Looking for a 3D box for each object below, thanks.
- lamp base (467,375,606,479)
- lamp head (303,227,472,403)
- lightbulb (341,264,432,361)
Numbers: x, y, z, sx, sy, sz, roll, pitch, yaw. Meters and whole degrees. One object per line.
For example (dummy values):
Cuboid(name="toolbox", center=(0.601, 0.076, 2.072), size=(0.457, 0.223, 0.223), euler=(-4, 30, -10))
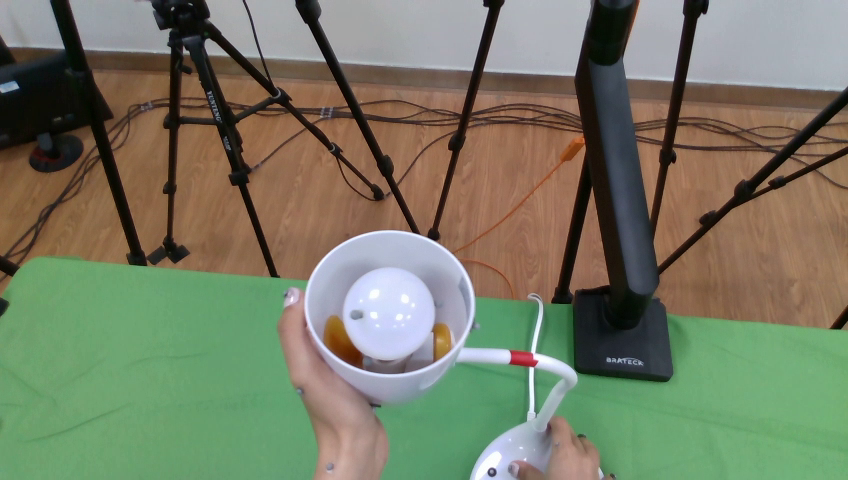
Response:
Cuboid(name="lamp base", center=(0.124, 0.229, 0.625), size=(0.161, 0.182, 0.177), euler=(-6, 52, -4))
Cuboid(name="lamp head", center=(-0.022, 0.068, 0.440), size=(0.112, 0.124, 0.111), euler=(-1, 55, 2))
Cuboid(name="lightbulb", center=(-0.027, 0.057, 0.417), size=(0.059, 0.108, 0.059), euler=(3, 60, -4))
